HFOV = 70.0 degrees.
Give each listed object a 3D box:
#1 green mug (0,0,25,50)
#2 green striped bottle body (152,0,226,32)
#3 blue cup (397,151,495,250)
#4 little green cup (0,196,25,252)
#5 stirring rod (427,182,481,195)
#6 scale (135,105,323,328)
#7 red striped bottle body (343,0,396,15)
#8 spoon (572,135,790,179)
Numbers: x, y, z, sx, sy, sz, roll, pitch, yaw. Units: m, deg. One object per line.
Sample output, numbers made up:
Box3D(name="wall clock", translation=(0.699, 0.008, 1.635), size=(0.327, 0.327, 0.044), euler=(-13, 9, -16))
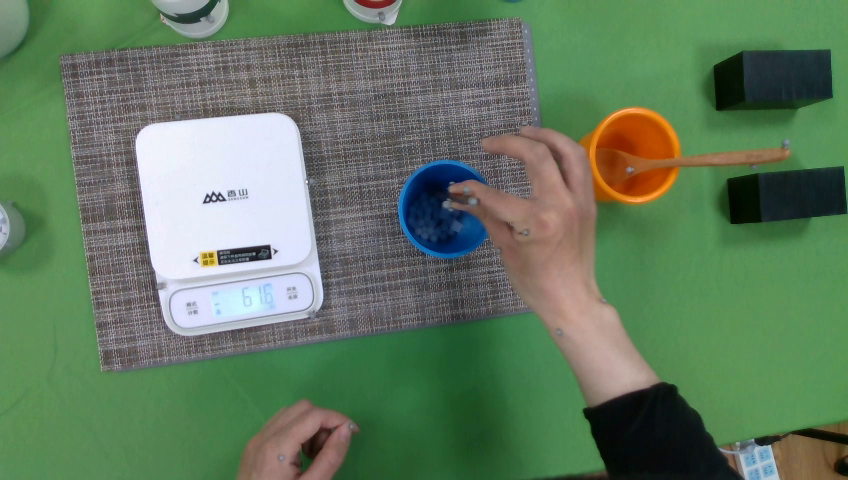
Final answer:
Box3D(name="green mug", translation=(-0.413, -0.196, 0.507), size=(0.093, 0.105, 0.125), euler=(28, 87, -7))
Box3D(name="green striped bottle body", translation=(-0.215, -0.230, 0.526), size=(0.063, 0.119, 0.063), euler=(0, 90, -8))
Box3D(name="blue cup", translation=(0.013, -0.034, 0.567), size=(0.093, 0.100, 0.092), euler=(0, 91, -8))
Box3D(name="little green cup", translation=(-0.396, -0.015, 0.545), size=(0.062, 0.038, 0.061), euler=(0, 91, -9))
Box3D(name="stirring rod", translation=(0.022, -0.045, 0.511), size=(0.014, 0.175, 0.006), euler=(-8, 98, -7))
Box3D(name="scale", translation=(-0.182, -0.022, 0.575), size=(0.149, 0.031, 0.201), euler=(-8, 92, -7))
Box3D(name="red striped bottle body", translation=(-0.047, -0.255, 0.549), size=(0.063, 0.119, 0.063), euler=(0, 90, -8))
Box3D(name="spoon", translation=(0.236, -0.083, 0.577), size=(0.022, 0.192, 0.041), euler=(-11, 100, -51))
